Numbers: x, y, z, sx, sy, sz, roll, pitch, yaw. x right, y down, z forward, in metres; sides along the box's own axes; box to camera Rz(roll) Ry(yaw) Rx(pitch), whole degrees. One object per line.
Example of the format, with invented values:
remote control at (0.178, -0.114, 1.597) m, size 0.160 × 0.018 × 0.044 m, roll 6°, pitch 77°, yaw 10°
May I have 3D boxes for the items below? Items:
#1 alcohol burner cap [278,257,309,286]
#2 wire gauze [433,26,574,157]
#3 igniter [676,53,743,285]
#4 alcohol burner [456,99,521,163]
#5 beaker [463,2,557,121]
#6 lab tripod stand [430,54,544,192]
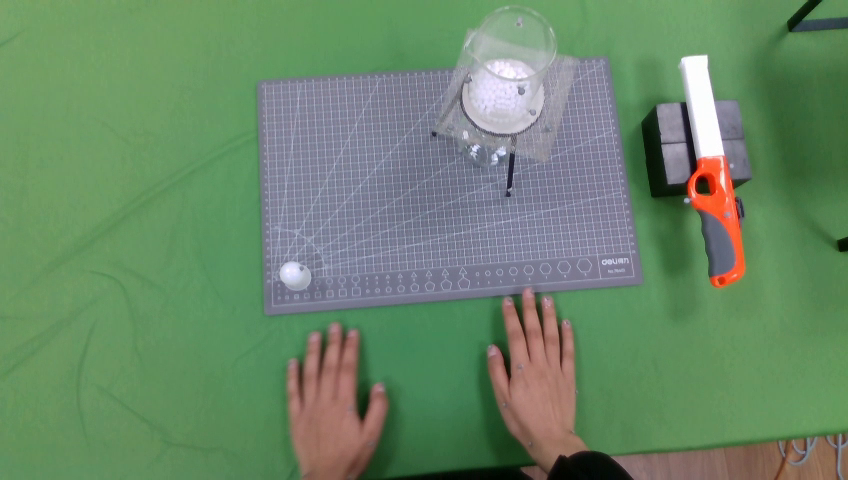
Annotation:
alcohol burner cap at (-0.152, 0.035, 0.697) m, size 0.034 × 0.048 × 0.033 m, roll 0°, pitch 78°, yaw -1°
wire gauze at (0.085, -0.154, 0.628) m, size 0.121 × 0.011 × 0.124 m, roll 18°, pitch 75°, yaw 0°
igniter at (0.326, -0.085, 0.695) m, size 0.057 × 0.025 × 0.275 m, roll -4°, pitch 78°, yaw 4°
alcohol burner at (0.076, -0.133, 0.700) m, size 0.078 × 0.119 × 0.077 m, roll 0°, pitch 80°, yaw 0°
beaker at (0.076, -0.164, 0.580) m, size 0.084 × 0.100 × 0.073 m, roll -3°, pitch 76°, yaw -2°
lab tripod stand at (0.081, -0.143, 0.692) m, size 0.148 × 0.132 × 0.147 m, roll 0°, pitch 76°, yaw -1°
